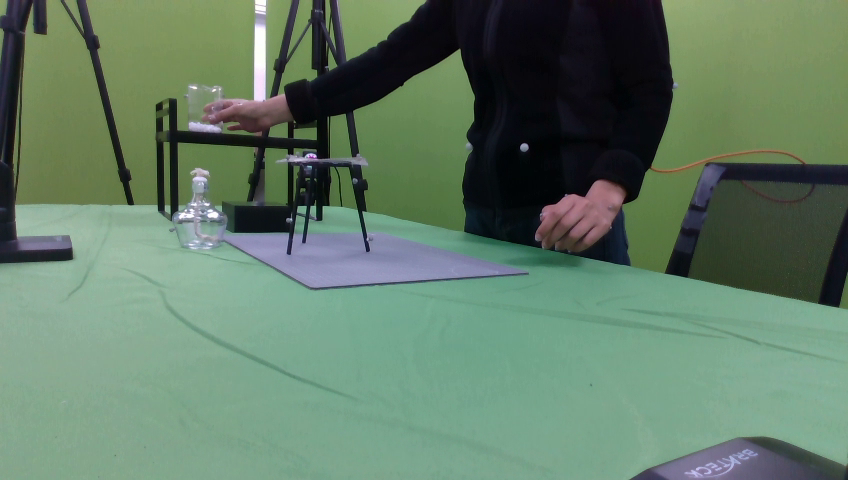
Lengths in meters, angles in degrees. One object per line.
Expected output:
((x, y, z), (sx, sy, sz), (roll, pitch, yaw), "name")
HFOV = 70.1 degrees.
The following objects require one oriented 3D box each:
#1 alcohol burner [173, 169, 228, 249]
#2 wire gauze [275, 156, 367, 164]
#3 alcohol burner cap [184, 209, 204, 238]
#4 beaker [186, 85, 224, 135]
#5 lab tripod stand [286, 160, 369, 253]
((-0.333, -0.047, 0.903), (0.078, 0.119, 0.078), (1, 6, 0), "alcohol burner")
((-0.148, -0.119, 0.895), (0.121, 0.011, 0.125), (1, 7, -3), "wire gauze")
((-0.390, -0.029, 1.025), (0.034, 0.048, 0.034), (2, 8, 0), "alcohol burner cap")
((-0.466, -0.276, 1.295), (0.074, 0.100, 0.083), (-3, 10, -35), "beaker")
((-0.157, -0.053, 0.901), (0.148, 0.131, 0.148), (0, 7, 0), "lab tripod stand")
